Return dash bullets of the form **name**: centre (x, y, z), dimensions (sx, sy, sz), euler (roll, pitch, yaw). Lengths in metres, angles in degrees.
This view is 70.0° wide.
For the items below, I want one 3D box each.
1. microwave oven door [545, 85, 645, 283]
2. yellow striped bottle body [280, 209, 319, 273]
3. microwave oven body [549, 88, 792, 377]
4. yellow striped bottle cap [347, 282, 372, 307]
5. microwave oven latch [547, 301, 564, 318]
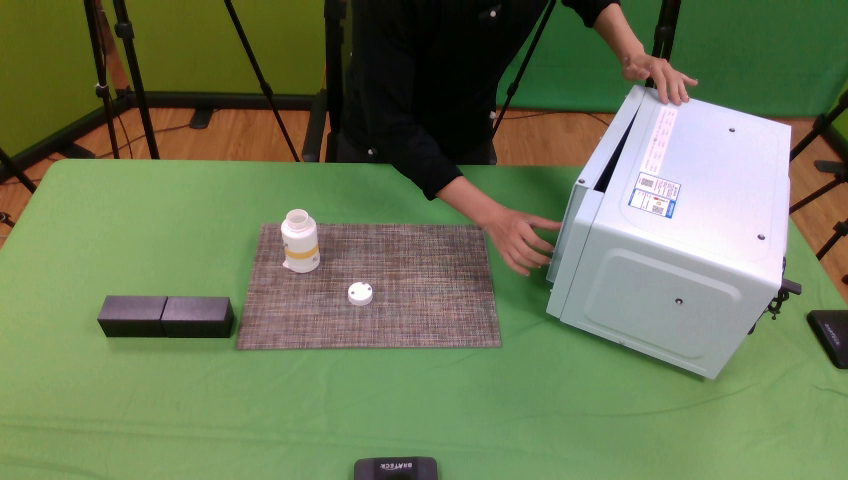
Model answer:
- **microwave oven door**: centre (0.332, -0.111, 1.152), dimensions (0.039, 0.245, 0.355), euler (23, 49, 18)
- **yellow striped bottle body**: centre (-0.227, -0.001, 1.106), dimensions (0.063, 0.121, 0.062), euler (2, 46, -2)
- **microwave oven body**: centre (0.456, -0.028, 1.088), dimensions (0.325, 0.261, 0.440), euler (20, 47, 16)
- **yellow striped bottle cap**: centre (-0.117, 0.098, 1.093), dimensions (0.044, 0.019, 0.044), euler (3, 45, -3)
- **microwave oven latch**: centre (0.243, 0.102, 1.082), dimensions (0.030, 0.029, 0.079), euler (21, 48, 17)
